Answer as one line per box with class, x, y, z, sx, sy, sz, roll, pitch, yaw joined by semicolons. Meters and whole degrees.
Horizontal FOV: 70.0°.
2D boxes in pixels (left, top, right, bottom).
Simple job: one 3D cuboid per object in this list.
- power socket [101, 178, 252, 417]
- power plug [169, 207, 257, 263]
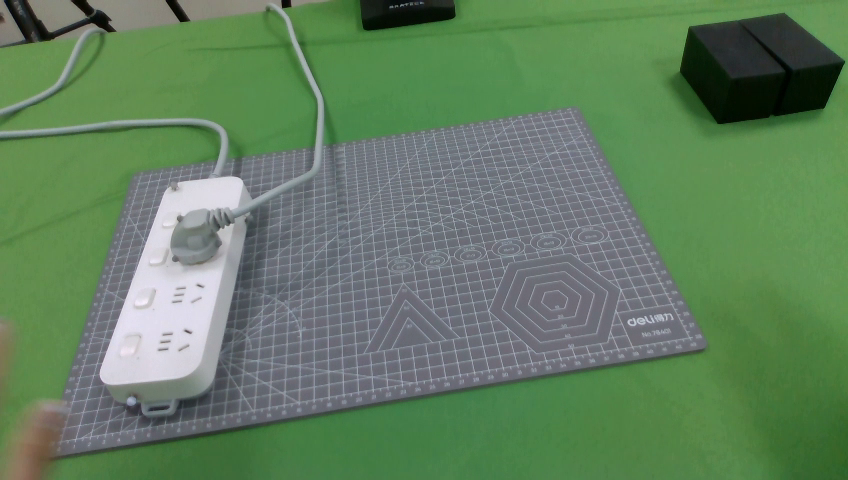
power socket;-0.186;0.029;0.477;0.072;0.033;0.224;-4;46;0
power plug;-0.160;0.003;0.465;0.072;0.053;0.035;1;47;10
